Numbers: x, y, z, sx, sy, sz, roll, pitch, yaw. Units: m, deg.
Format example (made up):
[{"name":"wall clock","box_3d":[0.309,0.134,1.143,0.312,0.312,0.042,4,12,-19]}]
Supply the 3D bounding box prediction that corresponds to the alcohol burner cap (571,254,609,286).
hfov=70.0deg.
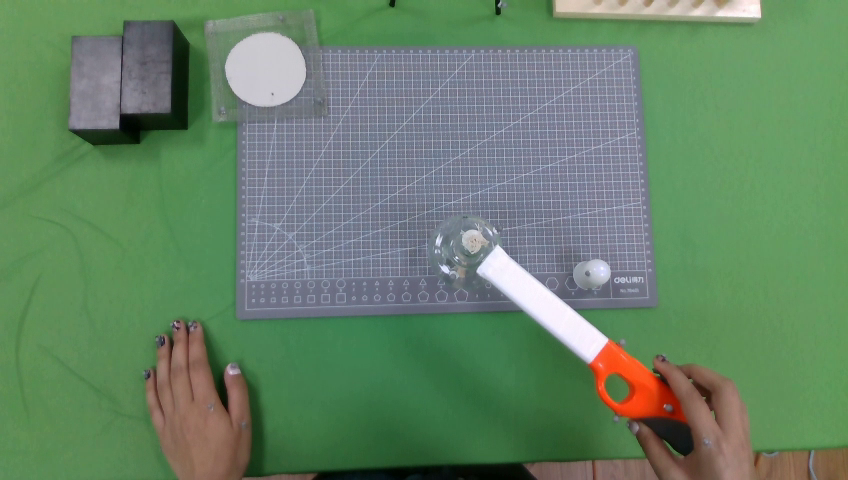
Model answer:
[{"name":"alcohol burner cap","box_3d":[0.178,0.031,0.640,0.034,0.048,0.033,0,81,-2]}]

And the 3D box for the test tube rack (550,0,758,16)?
[{"name":"test tube rack","box_3d":[0.268,-0.301,0.669,0.242,0.085,0.066,0,82,-3]}]

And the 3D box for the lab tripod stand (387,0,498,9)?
[{"name":"lab tripod stand","box_3d":[0.024,-0.316,0.632,0.148,0.132,0.148,0,81,-1]}]

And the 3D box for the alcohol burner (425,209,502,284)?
[{"name":"alcohol burner","box_3d":[0.041,0.004,0.600,0.078,0.119,0.077,1,80,-4]}]

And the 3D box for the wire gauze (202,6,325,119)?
[{"name":"wire gauze","box_3d":[-0.177,-0.194,0.663,0.125,0.011,0.121,-7,82,-4]}]

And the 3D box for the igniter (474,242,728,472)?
[{"name":"igniter","box_3d":[0.158,0.102,0.534,0.276,0.025,0.057,40,85,1]}]
